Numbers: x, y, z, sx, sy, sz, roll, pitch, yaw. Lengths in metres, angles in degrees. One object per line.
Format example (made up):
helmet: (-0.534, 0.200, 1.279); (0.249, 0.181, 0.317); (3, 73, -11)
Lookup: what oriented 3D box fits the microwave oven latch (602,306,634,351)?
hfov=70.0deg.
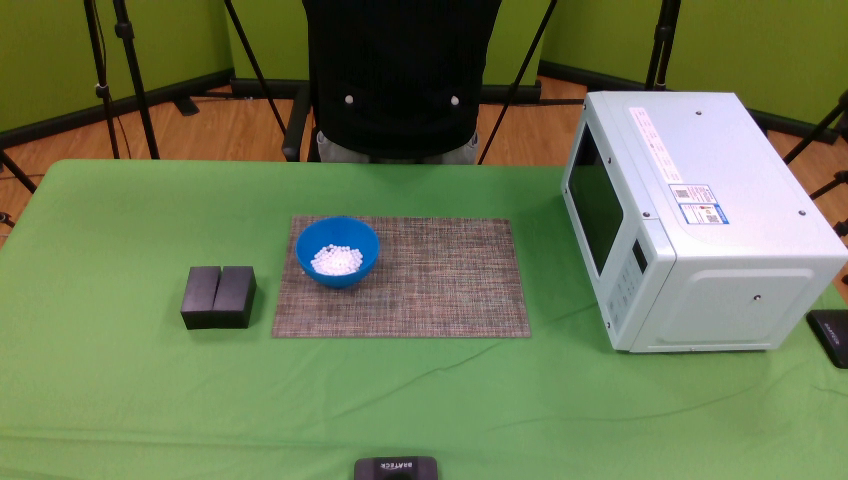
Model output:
microwave oven latch: (0.332, 0.153, 1.044); (0.030, 0.029, 0.078); (0, 45, -4)

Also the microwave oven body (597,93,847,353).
microwave oven body: (0.475, -0.041, 1.109); (0.326, 0.261, 0.438); (-1, 45, -4)

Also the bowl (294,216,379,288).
bowl: (-0.158, 0.036, 1.110); (0.151, 0.077, 0.150); (3, 45, -2)

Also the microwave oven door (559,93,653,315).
microwave oven door: (0.327, -0.074, 1.123); (0.039, 0.245, 0.353); (-1, 46, -5)
